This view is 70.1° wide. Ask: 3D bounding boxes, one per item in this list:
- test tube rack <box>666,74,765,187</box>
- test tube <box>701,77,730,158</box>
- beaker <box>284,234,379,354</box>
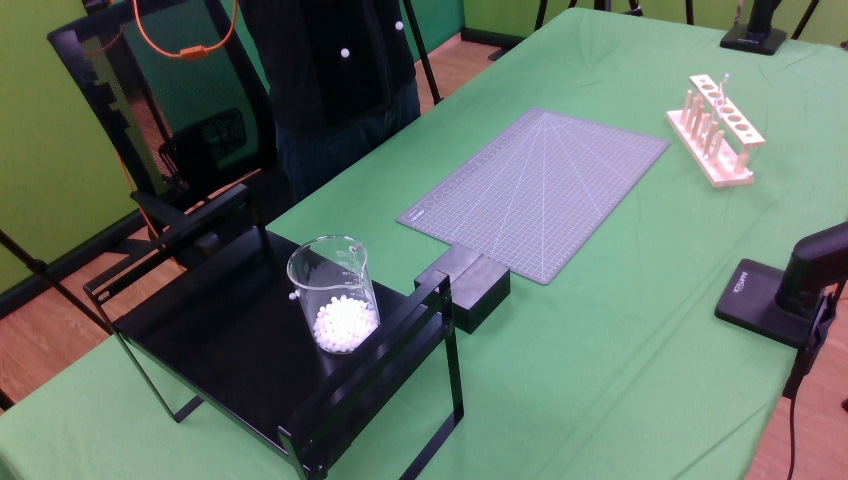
[{"bbox_3d":[0.512,-0.201,1.082,0.067,0.085,0.241,-6,41,2],"label":"test tube rack"},{"bbox_3d":[0.491,-0.204,1.020,0.017,0.151,0.017,-4,41,4],"label":"test tube"},{"bbox_3d":[-0.083,0.056,0.585,0.083,0.101,0.074,28,52,33],"label":"beaker"}]
